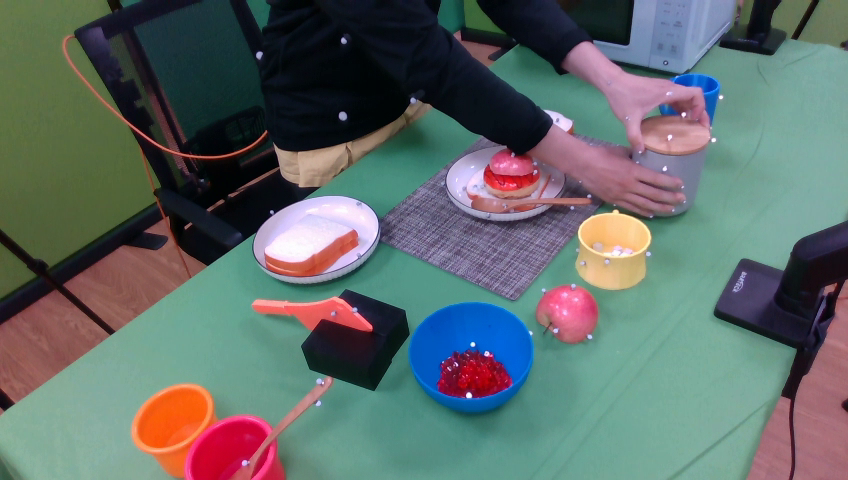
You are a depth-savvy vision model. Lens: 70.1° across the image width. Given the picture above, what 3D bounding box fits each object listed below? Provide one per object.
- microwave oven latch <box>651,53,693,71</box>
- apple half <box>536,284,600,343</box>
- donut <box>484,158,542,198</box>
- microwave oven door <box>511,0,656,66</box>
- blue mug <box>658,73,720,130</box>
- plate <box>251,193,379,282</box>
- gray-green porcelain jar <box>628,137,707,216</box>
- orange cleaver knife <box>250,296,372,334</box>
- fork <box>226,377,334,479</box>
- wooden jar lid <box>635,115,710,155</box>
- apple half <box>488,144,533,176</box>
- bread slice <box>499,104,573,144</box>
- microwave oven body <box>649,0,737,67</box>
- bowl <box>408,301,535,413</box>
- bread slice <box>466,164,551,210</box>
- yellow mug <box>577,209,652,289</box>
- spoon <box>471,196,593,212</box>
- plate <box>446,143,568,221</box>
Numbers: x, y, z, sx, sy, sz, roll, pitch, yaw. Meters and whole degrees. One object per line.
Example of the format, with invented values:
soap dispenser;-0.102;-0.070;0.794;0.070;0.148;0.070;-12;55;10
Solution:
microwave oven latch;0.532;-0.386;1.301;0.078;0.029;0.030;27;52;34
apple half;0.196;0.090;0.815;0.075;0.053;0.080;-22;42;-20
donut;0.149;-0.109;1.015;0.099;0.048;0.098;-4;42;4
microwave oven door;0.350;-0.539;1.348;0.353;0.245;0.039;24;50;31
blue mug;0.483;-0.250;1.127;0.082;0.106;0.115;-26;44;-19
plate;-0.174;-0.001;0.984;0.209;0.038;0.208;-4;40;3
gray-green porcelain jar;0.383;-0.110;0.964;0.106;0.127;0.105;-4;41;4
orange cleaver knife;-0.158;0.103;0.828;0.210;0.078;0.012;-4;43;39
fork;-0.163;0.216;0.647;0.207;0.019;0.028;-49;42;16
wooden jar lid;0.377;-0.157;0.923;0.108;0.021;0.108;-3;41;3
apple half;0.144;-0.139;0.995;0.081;0.033;0.081;3;38;-2
bread slice;0.231;-0.231;1.205;0.105;0.019;0.130;-36;47;-29
microwave oven body;0.475;-0.602;1.411;0.438;0.261;0.327;23;50;32
bowl;0.060;0.156;0.739;0.151;0.077;0.150;-4;40;4
bread slice;0.141;-0.093;1.042;0.133;0.018;0.107;9;44;19
yellow mug;0.279;0.004;0.893;0.099;0.064;0.130;5;41;15
spoon;0.172;-0.060;0.975;0.193;0.022;0.041;-3;42;18
plate;0.143;-0.097;1.045;0.207;0.039;0.206;-4;40;4
